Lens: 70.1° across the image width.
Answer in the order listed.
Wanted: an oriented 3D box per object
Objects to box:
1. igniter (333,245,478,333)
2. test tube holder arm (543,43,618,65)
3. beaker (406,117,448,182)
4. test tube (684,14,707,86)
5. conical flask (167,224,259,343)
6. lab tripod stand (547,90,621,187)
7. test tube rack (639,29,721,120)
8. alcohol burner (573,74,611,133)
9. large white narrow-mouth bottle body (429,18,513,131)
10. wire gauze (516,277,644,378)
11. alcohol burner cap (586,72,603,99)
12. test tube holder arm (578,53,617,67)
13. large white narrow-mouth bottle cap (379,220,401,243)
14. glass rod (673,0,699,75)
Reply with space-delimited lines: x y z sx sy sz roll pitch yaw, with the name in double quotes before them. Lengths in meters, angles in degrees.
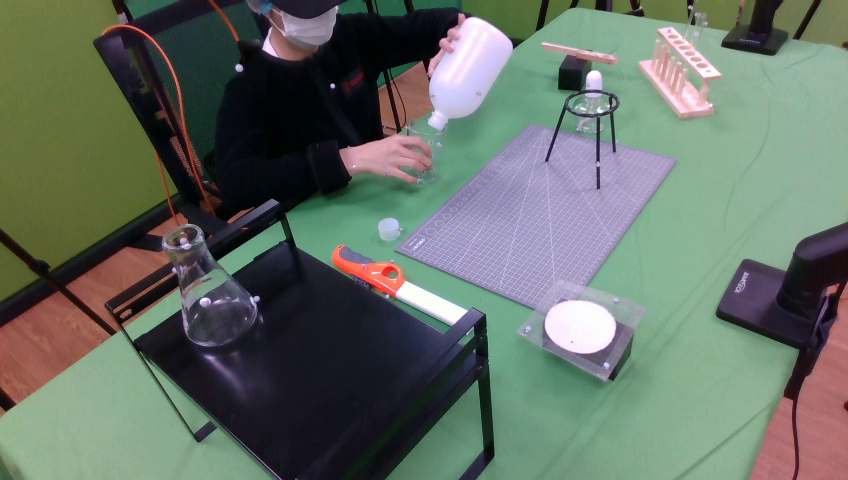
"igniter" -0.038 0.068 0.905 0.274 0.025 0.057 24 60 32
"test tube holder arm" 0.345 -0.413 1.340 0.177 0.015 0.013 25 50 31
"beaker" 0.005 -0.165 1.110 0.073 0.100 0.084 23 37 23
"test tube" 0.541 -0.379 1.216 0.017 0.151 0.017 -2 44 2
"conical flask" -0.220 0.041 0.613 0.075 0.122 0.075 -5 40 4
"lab tripod stand" 0.289 -0.184 1.062 0.148 0.132 0.147 -6 41 6
"test tube rack" 0.527 -0.351 1.262 0.067 0.085 0.241 -8 40 1
"alcohol burner" 0.330 -0.270 1.177 0.078 0.119 0.077 -4 43 4
"large white narrow-mouth bottle body" 0.069 -0.284 1.076 0.101 0.103 0.194 40 103 41
"wire gauze" 0.197 0.103 0.765 0.124 0.011 0.122 23 50 32
"alcohol burner cap" 0.325 -0.297 1.154 0.034 0.048 0.033 -8 35 6
"test tube holder arm" 0.376 -0.393 1.314 0.087 0.015 0.010 26 51 32
"large white narrow-mouth bottle cap" -0.057 -0.015 1.011 0.038 0.024 0.037 -4 40 4
"glass rod" 0.541 -0.427 1.246 0.008 0.200 0.008 0 48 1
